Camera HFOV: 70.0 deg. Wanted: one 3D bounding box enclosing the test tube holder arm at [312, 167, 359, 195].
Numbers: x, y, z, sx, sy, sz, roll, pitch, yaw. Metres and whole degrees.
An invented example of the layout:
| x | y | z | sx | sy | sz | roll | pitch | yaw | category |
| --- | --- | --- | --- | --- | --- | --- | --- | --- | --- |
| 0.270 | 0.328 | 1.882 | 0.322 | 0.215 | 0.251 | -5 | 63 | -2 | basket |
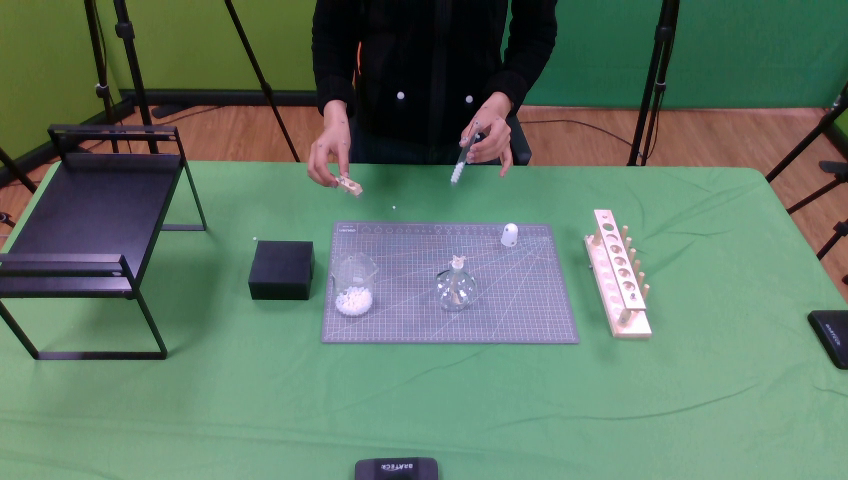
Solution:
| x | y | z | sx | sy | sz | roll | pitch | yaw | category |
| --- | --- | --- | --- | --- | --- | --- | --- | --- | --- |
| -0.167 | -0.111 | 1.119 | 0.013 | 0.015 | 0.177 | -29 | 32 | -25 | test tube holder arm |

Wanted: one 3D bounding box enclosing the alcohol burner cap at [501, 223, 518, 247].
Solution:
| x | y | z | sx | sy | sz | roll | pitch | yaw | category |
| --- | --- | --- | --- | --- | --- | --- | --- | --- | --- |
| 0.172 | -0.013 | 1.206 | 0.034 | 0.048 | 0.033 | 1 | 45 | -1 | alcohol burner cap |

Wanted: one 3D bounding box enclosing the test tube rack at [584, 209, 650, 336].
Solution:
| x | y | z | sx | sy | sz | roll | pitch | yaw | category |
| --- | --- | --- | --- | --- | --- | --- | --- | --- | --- |
| 0.365 | 0.056 | 1.129 | 0.067 | 0.085 | 0.240 | 0 | 46 | -3 | test tube rack |

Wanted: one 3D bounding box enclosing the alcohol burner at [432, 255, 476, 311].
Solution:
| x | y | z | sx | sy | sz | roll | pitch | yaw | category |
| --- | --- | --- | --- | --- | --- | --- | --- | --- | --- |
| 0.055 | 0.070 | 1.068 | 0.078 | 0.119 | 0.077 | 3 | 45 | -3 | alcohol burner |

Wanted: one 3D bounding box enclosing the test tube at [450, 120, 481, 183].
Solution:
| x | y | z | sx | sy | sz | roll | pitch | yaw | category |
| --- | --- | --- | --- | --- | --- | --- | --- | --- | --- |
| 0.073 | -0.156 | 1.098 | 0.017 | 0.151 | 0.017 | 9 | 50 | -11 | test tube |

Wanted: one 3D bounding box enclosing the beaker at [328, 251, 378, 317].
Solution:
| x | y | z | sx | sy | sz | roll | pitch | yaw | category |
| --- | --- | --- | --- | --- | --- | --- | --- | --- | --- |
| -0.123 | 0.079 | 1.055 | 0.084 | 0.101 | 0.073 | 0 | 47 | -5 | beaker |

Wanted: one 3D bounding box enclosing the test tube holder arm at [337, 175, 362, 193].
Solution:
| x | y | z | sx | sy | sz | roll | pitch | yaw | category |
| --- | --- | --- | --- | --- | --- | --- | --- | --- | --- |
| -0.137 | -0.100 | 1.087 | 0.010 | 0.015 | 0.087 | -28 | 31 | -25 | test tube holder arm |
